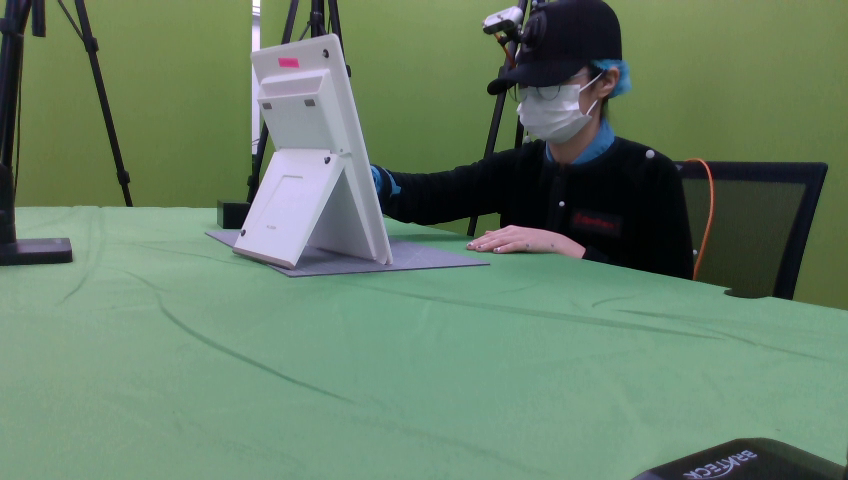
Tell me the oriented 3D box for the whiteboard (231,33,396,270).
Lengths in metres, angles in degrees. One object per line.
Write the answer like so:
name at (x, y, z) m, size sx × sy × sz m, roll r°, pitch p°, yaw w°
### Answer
whiteboard at (-0.193, -0.094, 0.805) m, size 0.144 × 0.305 × 0.216 m, roll -29°, pitch 25°, yaw -35°

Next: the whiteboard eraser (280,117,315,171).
whiteboard eraser at (-0.188, -0.140, 0.892) m, size 0.019 × 0.041 × 0.101 m, roll -30°, pitch -13°, yaw -39°
